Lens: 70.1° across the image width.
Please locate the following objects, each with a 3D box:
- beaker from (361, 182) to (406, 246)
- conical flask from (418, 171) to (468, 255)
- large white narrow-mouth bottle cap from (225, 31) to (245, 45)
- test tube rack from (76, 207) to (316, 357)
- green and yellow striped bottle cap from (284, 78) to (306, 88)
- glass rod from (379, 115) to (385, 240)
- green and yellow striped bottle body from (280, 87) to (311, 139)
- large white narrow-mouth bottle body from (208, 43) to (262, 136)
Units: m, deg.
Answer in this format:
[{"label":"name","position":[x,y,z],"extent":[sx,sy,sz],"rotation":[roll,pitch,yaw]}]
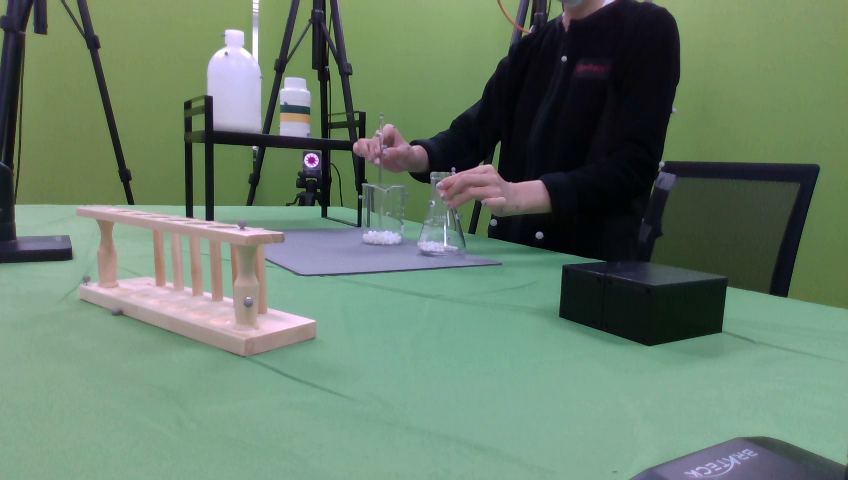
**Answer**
[{"label":"beaker","position":[-0.067,-0.042,0.993],"extent":[0.074,0.100,0.084],"rotation":[1,8,-8]},{"label":"conical flask","position":[0.028,-0.041,0.896],"extent":[0.075,0.122,0.075],"rotation":[0,5,0]},{"label":"large white narrow-mouth bottle cap","position":[-0.365,-0.388,1.166],"extent":[0.038,0.024,0.037],"rotation":[2,9,0]},{"label":"test tube rack","position":[-0.196,0.023,0.500],"extent":[0.241,0.085,0.067],"rotation":[8,9,36]},{"label":"green and yellow striped bottle cap","position":[-0.268,-0.325,1.259],"extent":[0.045,0.020,0.045],"rotation":[5,7,0]},{"label":"glass rod","position":[-0.067,-0.099,0.967],"extent":[0.008,0.199,0.008],"rotation":[-1,2,0]},{"label":"green and yellow striped bottle body","position":[-0.269,-0.274,1.266],"extent":[0.063,0.119,0.063],"rotation":[3,7,0]},{"label":"large white narrow-mouth bottle body","position":[-0.368,-0.304,1.181],"extent":[0.102,0.194,0.101],"rotation":[2,9,0]}]
